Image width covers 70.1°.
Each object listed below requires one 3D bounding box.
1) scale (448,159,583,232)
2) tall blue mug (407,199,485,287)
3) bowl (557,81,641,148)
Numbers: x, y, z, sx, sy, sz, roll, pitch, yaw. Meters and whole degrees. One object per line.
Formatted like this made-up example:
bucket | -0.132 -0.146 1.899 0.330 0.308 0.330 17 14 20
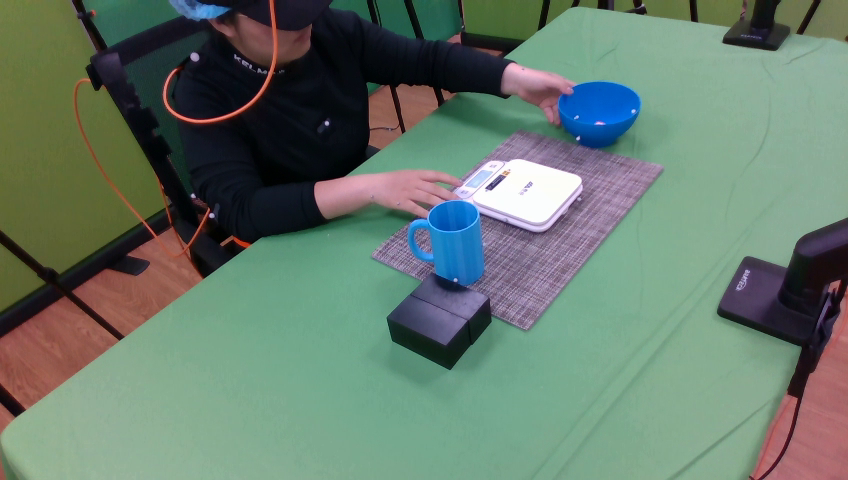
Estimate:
scale | 0.156 -0.085 1.040 0.199 0.032 0.149 22 49 32
tall blue mug | 0.034 0.008 0.892 0.107 0.108 0.077 -14 41 -5
bowl | 0.327 -0.228 1.143 0.151 0.077 0.150 -4 44 5
